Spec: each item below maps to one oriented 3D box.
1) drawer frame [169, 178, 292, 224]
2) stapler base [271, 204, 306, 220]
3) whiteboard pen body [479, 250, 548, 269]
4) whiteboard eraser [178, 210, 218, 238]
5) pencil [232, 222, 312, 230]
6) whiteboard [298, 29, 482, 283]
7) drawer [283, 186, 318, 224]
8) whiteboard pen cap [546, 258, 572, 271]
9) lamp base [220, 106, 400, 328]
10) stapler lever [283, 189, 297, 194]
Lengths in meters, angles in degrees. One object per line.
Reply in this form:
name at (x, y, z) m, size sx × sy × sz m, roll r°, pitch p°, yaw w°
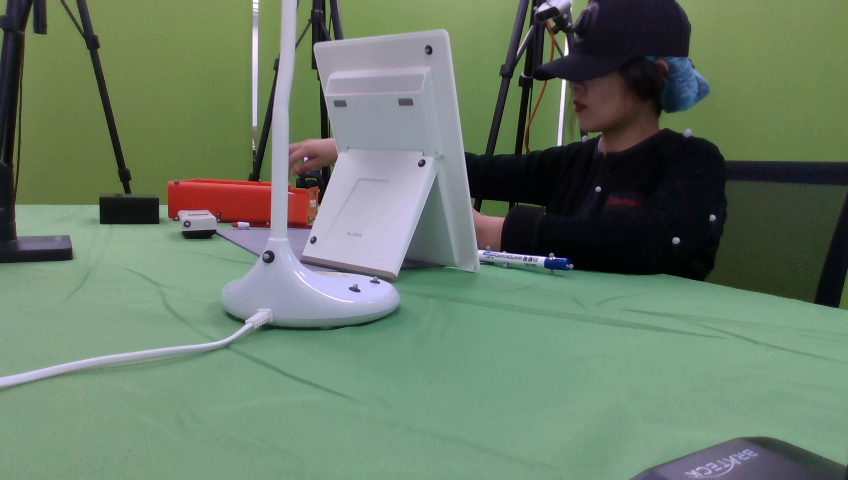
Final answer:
drawer frame at (-0.406, -0.087, 1.304) m, size 0.214 × 0.082 × 0.201 m, roll 1°, pitch 8°, yaw -5°
stapler base at (-0.290, -0.063, 1.312) m, size 0.041 × 0.024 × 0.130 m, roll 21°, pitch 6°, yaw 5°
whiteboard pen body at (0.130, 0.028, 0.827) m, size 0.140 × 0.017 × 0.017 m, roll 6°, pitch 8°, yaw 38°
whiteboard eraser at (-0.380, -0.027, 1.014) m, size 0.056 × 0.042 × 0.112 m, roll 0°, pitch 8°, yaw -25°
pencil at (-0.261, -0.025, 1.141) m, size 0.195 × 0.012 × 0.012 m, roll 2°, pitch 7°, yaw -26°
whiteboard at (-0.075, -0.082, 0.742) m, size 0.216 × 0.305 × 0.144 m, roll 9°, pitch 29°, yaw 37°
drawer at (-0.342, -0.082, 1.309) m, size 0.212 × 0.073 × 0.194 m, roll 1°, pitch 8°, yaw -4°
whiteboard pen cap at (0.175, 0.032, 0.790) m, size 0.033 × 0.018 × 0.018 m, roll 3°, pitch 6°, yaw 37°
lamp base at (-0.101, -0.023, 0.531) m, size 0.160 × 0.180 × 0.179 m, roll 4°, pitch 10°, yaw 10°
stapler lever at (-0.282, -0.088, 1.311) m, size 0.027 × 0.040 × 0.118 m, roll 21°, pitch 5°, yaw 5°
